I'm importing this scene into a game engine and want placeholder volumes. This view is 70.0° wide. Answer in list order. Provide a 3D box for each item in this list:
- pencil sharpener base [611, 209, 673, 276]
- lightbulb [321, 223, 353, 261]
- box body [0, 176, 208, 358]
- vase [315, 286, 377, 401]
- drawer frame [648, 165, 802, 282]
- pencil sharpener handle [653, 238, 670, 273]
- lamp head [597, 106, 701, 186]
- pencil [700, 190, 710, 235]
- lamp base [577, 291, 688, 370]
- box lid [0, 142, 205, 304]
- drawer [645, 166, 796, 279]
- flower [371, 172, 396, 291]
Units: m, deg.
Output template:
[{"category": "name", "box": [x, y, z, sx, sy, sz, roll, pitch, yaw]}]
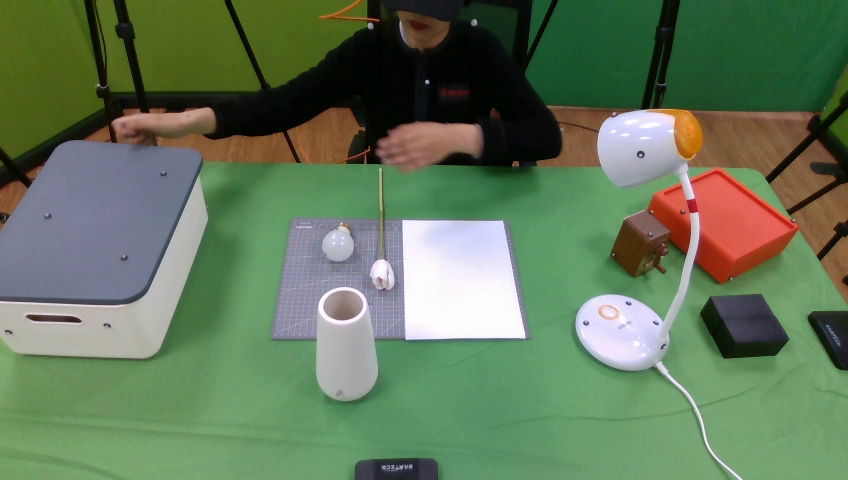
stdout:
[{"category": "pencil sharpener base", "box": [0.416, 0.007, 1.158, 0.061, 0.107, 0.076, -21, 51, -22]}, {"category": "lightbulb", "box": [-0.163, -0.001, 1.164, 0.059, 0.060, 0.107, 4, 30, 0]}, {"category": "box body", "box": [-0.546, 0.017, 1.045, 0.254, 0.161, 0.361, 2, 46, -2]}, {"category": "vase", "box": [-0.119, 0.159, 0.911, 0.098, 0.201, 0.097, 2, 47, -2]}, {"category": "drawer frame", "box": [0.603, -0.040, 1.233, 0.202, 0.083, 0.212, -21, 51, -23]}, {"category": "pencil sharpener handle", "box": [0.444, 0.030, 1.120, 0.036, 0.068, 0.030, -25, 52, -18]}, {"category": "lamp head", "box": [0.329, -0.138, 0.865, 0.112, 0.113, 0.122, -36, 20, -32]}, {"category": "pencil", "box": [0.584, -0.059, 1.256, 0.012, 0.012, 0.193, 16, 35, 12]}, {"category": "lamp base", "box": [0.361, 0.110, 1.003, 0.160, 0.181, 0.178, -30, 57, -29]}, {"category": "box lid", "box": [-0.534, -0.044, 0.995, 0.263, 0.015, 0.369, 3, 45, -3]}, {"category": "drawer", "box": [0.600, -0.041, 1.236, 0.195, 0.073, 0.210, -21, 51, -23]}, {"category": "flower", "box": [-0.090, -0.034, 1.228, 0.044, 0.038, 0.359, 22, 35, -25]}]
